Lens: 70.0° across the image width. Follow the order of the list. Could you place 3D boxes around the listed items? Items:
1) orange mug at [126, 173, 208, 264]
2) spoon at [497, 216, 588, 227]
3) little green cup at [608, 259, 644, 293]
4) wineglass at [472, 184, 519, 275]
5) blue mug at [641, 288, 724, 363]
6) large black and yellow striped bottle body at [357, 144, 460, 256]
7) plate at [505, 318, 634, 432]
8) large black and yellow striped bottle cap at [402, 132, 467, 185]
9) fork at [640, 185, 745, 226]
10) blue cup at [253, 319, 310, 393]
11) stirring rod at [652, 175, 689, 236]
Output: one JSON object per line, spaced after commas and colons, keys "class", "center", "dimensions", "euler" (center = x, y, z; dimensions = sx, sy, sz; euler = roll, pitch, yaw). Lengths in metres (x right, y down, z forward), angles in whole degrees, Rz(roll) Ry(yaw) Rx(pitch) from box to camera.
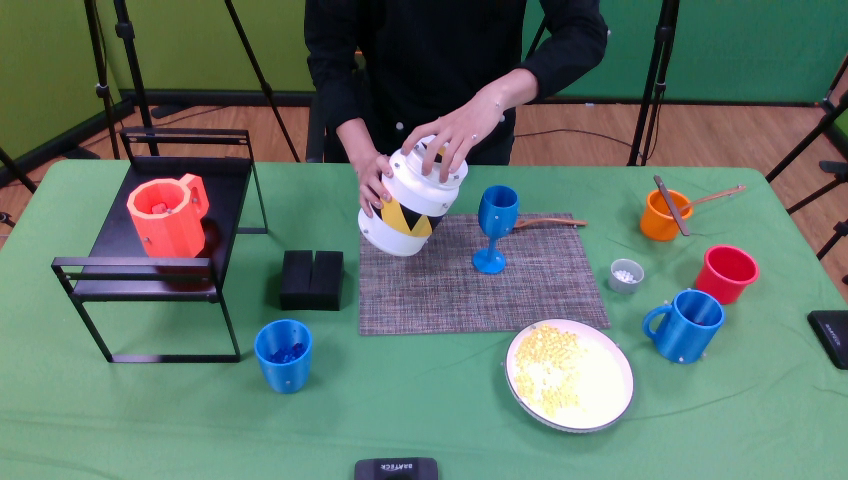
{"class": "orange mug", "center": [-0.371, -0.040, 0.902], "dimensions": [0.083, 0.101, 0.126], "euler": [18, 52, 13]}
{"class": "spoon", "center": [0.245, -0.039, 1.247], "dimensions": [0.194, 0.022, 0.041], "euler": [-1, 25, -6]}
{"class": "little green cup", "center": [0.379, 0.070, 1.147], "dimensions": [0.061, 0.039, 0.061], "euler": [3, 46, -3]}
{"class": "wineglass", "center": [0.129, -0.018, 1.113], "dimensions": [0.074, 0.173, 0.073], "euler": [2, 46, -2]}
{"class": "blue mug", "center": [0.432, 0.144, 1.033], "dimensions": [0.116, 0.106, 0.082], "euler": [8, 46, 5]}
{"class": "large black and yellow striped bottle body", "center": [-0.023, -0.077, 1.040], "dimensions": [0.131, 0.184, 0.130], "euler": [23, 35, -17]}
{"class": "plate", "center": [0.235, 0.221, 0.991], "dimensions": [0.209, 0.038, 0.208], "euler": [2, 45, -2]}
{"class": "large black and yellow striped bottle cap", "center": [0.018, -0.135, 0.992], "dimensions": [0.115, 0.019, 0.114], "euler": [24, 34, -17]}
{"class": "fork", "center": [0.534, -0.069, 1.215], "dimensions": [0.207, 0.019, 0.028], "euler": [-26, 28, 33]}
{"class": "blue cup", "center": [-0.217, 0.187, 0.943], "dimensions": [0.093, 0.101, 0.092], "euler": [4, 45, -3]}
{"class": "stirring rod", "center": [0.491, -0.072, 1.211], "dimensions": [0.014, 0.006, 0.175], "euler": [-1, 46, -6]}
